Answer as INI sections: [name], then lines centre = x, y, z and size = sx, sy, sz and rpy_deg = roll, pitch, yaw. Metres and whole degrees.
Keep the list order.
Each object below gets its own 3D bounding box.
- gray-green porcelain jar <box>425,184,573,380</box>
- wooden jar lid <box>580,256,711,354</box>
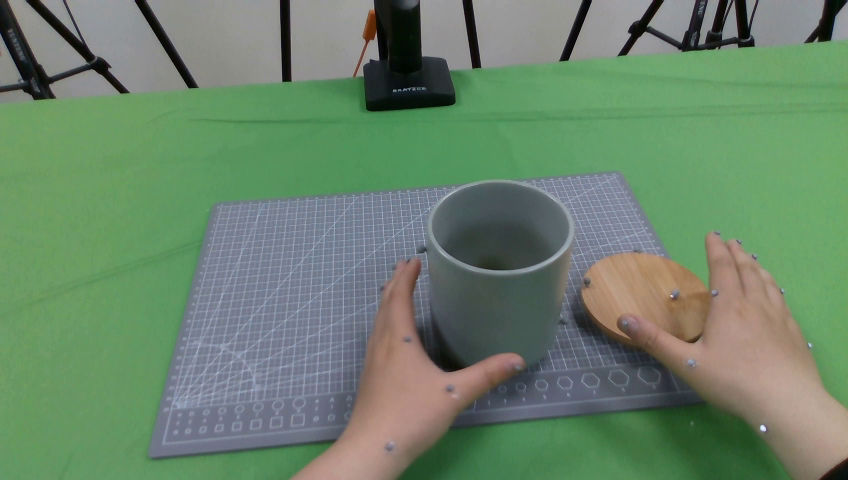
[gray-green porcelain jar]
centre = 0.055, 0.037, 0.470
size = 0.106, 0.127, 0.105
rpy_deg = -1, 42, 2
[wooden jar lid]
centre = 0.189, 0.057, 0.523
size = 0.108, 0.021, 0.107
rpy_deg = -2, 41, 2
